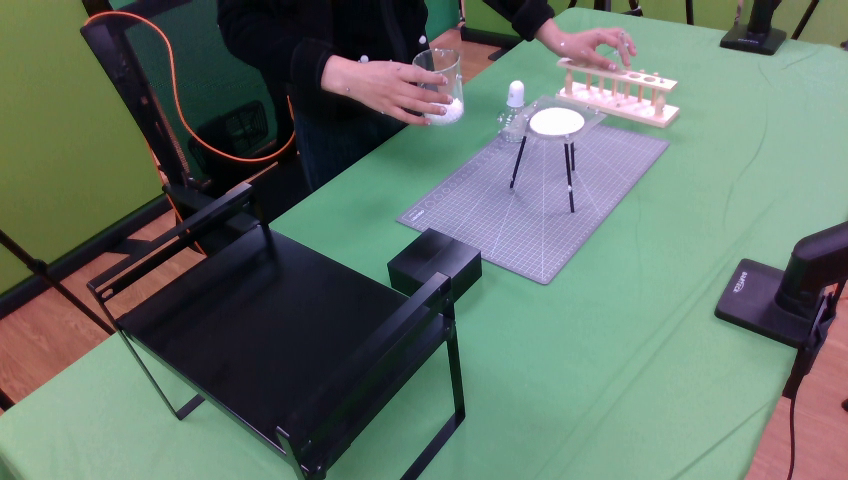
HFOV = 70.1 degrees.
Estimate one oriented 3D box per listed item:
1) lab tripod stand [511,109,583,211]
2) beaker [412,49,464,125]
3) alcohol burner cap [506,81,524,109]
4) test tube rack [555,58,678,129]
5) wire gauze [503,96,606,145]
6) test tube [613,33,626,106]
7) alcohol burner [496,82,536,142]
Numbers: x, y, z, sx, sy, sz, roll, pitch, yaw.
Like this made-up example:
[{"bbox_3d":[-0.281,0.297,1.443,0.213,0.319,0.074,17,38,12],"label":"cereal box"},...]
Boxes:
[{"bbox_3d":[0.220,-0.138,1.014,0.148,0.132,0.147,-3,41,3],"label":"lab tripod stand"},{"bbox_3d":[0.026,-0.242,0.961,0.074,0.101,0.084,4,46,15],"label":"beaker"},{"bbox_3d":[0.174,-0.277,1.144,0.034,0.048,0.033,0,39,1],"label":"alcohol burner cap"},{"bbox_3d":[0.390,-0.307,1.229,0.240,0.085,0.067,26,50,33],"label":"test tube rack"},{"bbox_3d":[0.211,-0.192,0.975,0.120,0.011,0.125,24,49,32],"label":"wire gauze"},{"bbox_3d":[0.381,-0.329,1.180,0.017,0.151,0.017,-6,42,6],"label":"test tube"},{"bbox_3d":[0.178,-0.250,1.167,0.078,0.119,0.077,-5,42,5],"label":"alcohol burner"}]
